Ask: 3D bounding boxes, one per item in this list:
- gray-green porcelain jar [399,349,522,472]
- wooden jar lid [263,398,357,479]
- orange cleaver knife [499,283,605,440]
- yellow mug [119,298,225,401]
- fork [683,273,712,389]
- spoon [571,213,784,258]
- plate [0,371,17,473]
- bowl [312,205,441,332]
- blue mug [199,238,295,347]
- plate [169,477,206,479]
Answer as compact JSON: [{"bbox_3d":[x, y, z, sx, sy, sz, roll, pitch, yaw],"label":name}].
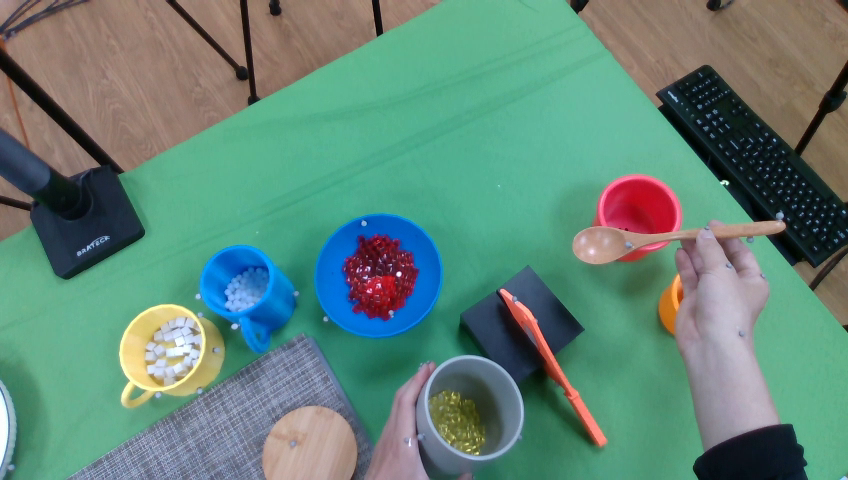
[{"bbox_3d":[0.033,0.188,0.651,0.106,0.127,0.105,8,58,-13],"label":"gray-green porcelain jar"},{"bbox_3d":[-0.130,0.238,0.700,0.108,0.021,0.108,0,73,1],"label":"wooden jar lid"},{"bbox_3d":[0.145,0.139,0.695,0.012,0.077,0.212,-34,104,-9],"label":"orange cleaver knife"},{"bbox_3d":[-0.306,0.136,0.717,0.099,0.064,0.130,34,77,12],"label":"yellow mug"},{"bbox_3d":[0.305,0.094,0.670,0.028,0.019,0.206,27,31,6],"label":"fork"},{"bbox_3d":[0.240,-0.009,0.591,0.193,0.022,0.041,-7,72,34],"label":"spoon"},{"bbox_3d":[-0.577,0.230,0.709,0.207,0.039,0.206,0,72,1],"label":"plate"},{"bbox_3d":[-0.053,0.043,0.733,0.151,0.077,0.150,0,73,2],"label":"bowl"},{"bbox_3d":[-0.203,0.069,0.715,0.082,0.106,0.116,-12,72,-2],"label":"blue mug"},{"bbox_3d":[-0.261,0.366,0.653,0.209,0.038,0.208,0,72,2],"label":"plate"}]
